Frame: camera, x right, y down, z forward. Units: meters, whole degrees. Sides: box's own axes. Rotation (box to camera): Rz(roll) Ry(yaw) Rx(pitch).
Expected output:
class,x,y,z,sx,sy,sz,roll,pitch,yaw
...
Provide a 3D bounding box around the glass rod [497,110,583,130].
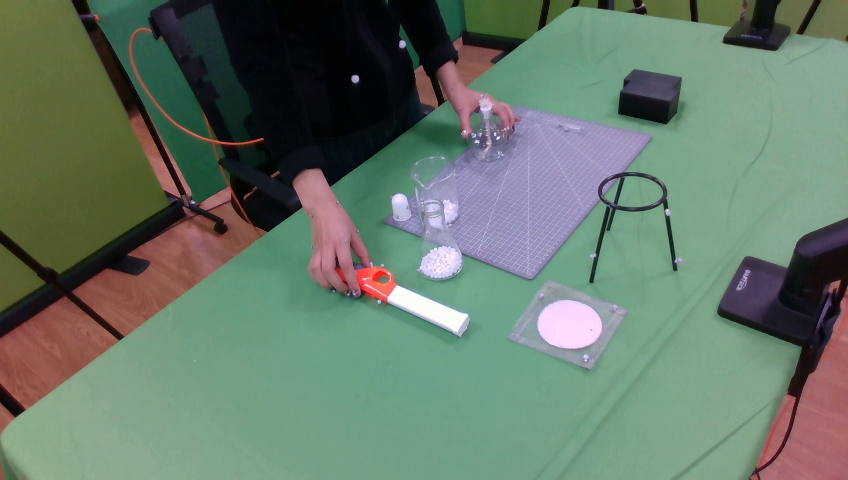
class,x,y,z,sx,sy,sz,roll,pitch,yaw
glass rod,0.233,-0.245,1.235,0.198,0.008,0.008,21,49,34

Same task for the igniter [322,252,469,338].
class,x,y,z,sx,sy,sz,roll,pitch,yaw
igniter,-0.053,0.077,0.900,0.274,0.025,0.057,22,63,31

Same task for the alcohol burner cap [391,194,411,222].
class,x,y,z,sx,sy,sz,roll,pitch,yaw
alcohol burner cap,-0.041,-0.057,1.040,0.034,0.048,0.033,-5,41,5

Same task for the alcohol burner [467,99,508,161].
class,x,y,z,sx,sy,sz,roll,pitch,yaw
alcohol burner,0.119,-0.210,1.134,0.078,0.119,0.077,-4,39,4

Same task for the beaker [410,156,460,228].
class,x,y,z,sx,sy,sz,roll,pitch,yaw
beaker,0.020,-0.076,1.006,0.074,0.101,0.084,3,42,15

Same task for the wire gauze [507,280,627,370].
class,x,y,z,sx,sy,sz,roll,pitch,yaw
wire gauze,0.196,0.114,0.823,0.120,0.011,0.125,20,50,31

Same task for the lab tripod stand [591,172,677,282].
class,x,y,z,sx,sy,sz,roll,pitch,yaw
lab tripod stand,0.292,-0.022,0.867,0.148,0.132,0.147,-7,39,6

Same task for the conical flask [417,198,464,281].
class,x,y,z,sx,sy,sz,roll,pitch,yaw
conical flask,0.019,-0.004,0.907,0.075,0.122,0.075,-5,40,5
